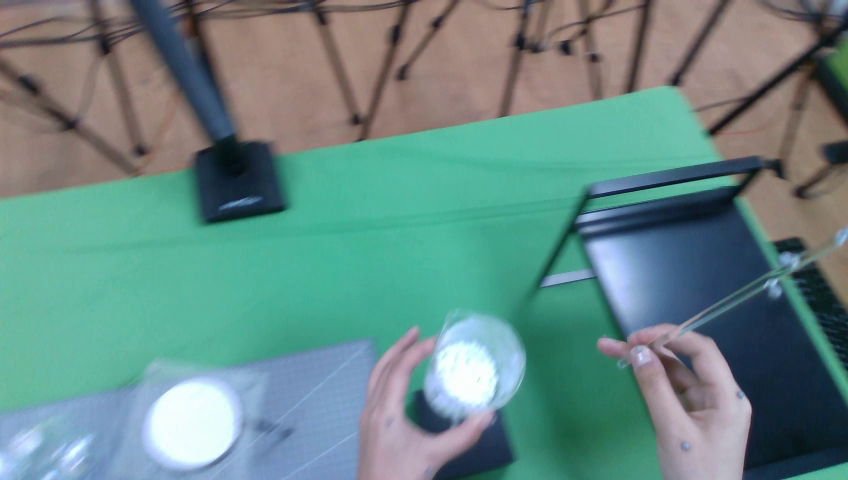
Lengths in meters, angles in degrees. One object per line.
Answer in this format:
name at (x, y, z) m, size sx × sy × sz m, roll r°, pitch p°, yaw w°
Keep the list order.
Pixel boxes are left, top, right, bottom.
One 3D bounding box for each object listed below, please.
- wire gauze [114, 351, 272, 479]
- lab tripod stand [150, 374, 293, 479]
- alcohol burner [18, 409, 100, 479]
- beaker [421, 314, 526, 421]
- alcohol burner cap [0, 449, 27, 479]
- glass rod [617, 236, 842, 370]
wire gauze at (-0.221, 0.175, 0.593) m, size 0.125 × 0.011 × 0.120 m, roll 10°, pitch 63°, yaw -1°
lab tripod stand at (-0.223, 0.203, 0.654) m, size 0.148 × 0.132 × 0.147 m, roll 3°, pitch 61°, yaw -4°
alcohol burner at (-0.395, 0.215, 0.643) m, size 0.078 × 0.120 × 0.077 m, roll 3°, pitch 62°, yaw -5°
beaker at (0.035, 0.112, 0.517) m, size 0.074 × 0.101 × 0.083 m, roll -25°, pitch 72°, yaw -16°
alcohol burner cap at (-0.463, 0.245, 0.662) m, size 0.034 × 0.048 × 0.033 m, roll 2°, pitch 62°, yaw -3°
glass rod at (0.176, 0.049, 0.380) m, size 0.008 × 0.200 × 0.008 m, roll 9°, pitch 58°, yaw -14°
